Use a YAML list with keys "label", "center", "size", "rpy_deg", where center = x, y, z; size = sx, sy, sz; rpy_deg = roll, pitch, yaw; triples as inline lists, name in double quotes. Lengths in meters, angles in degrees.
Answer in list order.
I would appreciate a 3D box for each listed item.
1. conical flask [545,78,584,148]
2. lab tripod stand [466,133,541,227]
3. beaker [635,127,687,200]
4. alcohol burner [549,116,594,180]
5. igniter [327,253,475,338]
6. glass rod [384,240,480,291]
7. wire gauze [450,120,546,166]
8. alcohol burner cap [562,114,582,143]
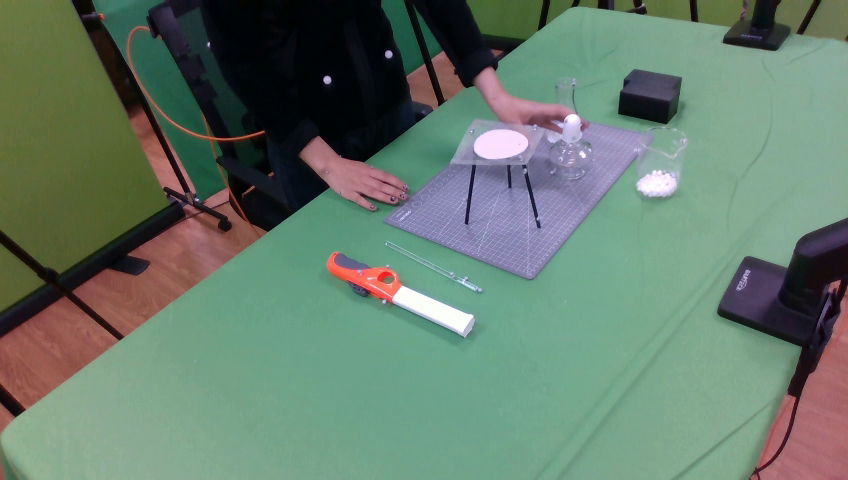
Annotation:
- label: "conical flask"
  center: [0.265, -0.241, 1.135]
  size: [0.075, 0.122, 0.075]
  rpy_deg: [-6, 40, 5]
- label: "lab tripod stand"
  center: [0.129, -0.099, 0.985]
  size: [0.148, 0.132, 0.147]
  rpy_deg: [-7, 38, 6]
- label: "beaker"
  center: [0.388, -0.122, 0.994]
  size: [0.074, 0.101, 0.083]
  rpy_deg: [-8, 40, 2]
- label: "alcohol burner"
  center: [0.258, -0.166, 1.055]
  size: [0.078, 0.120, 0.077]
  rpy_deg: [-6, 42, 6]
- label: "igniter"
  center: [-0.045, 0.077, 0.898]
  size: [0.274, 0.025, 0.057]
  rpy_deg: [22, 60, 32]
- label: "glass rod"
  center: [0.008, 0.037, 0.949]
  size: [0.198, 0.008, 0.008]
  rpy_deg: [26, 52, 34]
- label: "wire gauze"
  center: [0.117, -0.151, 0.943]
  size: [0.121, 0.011, 0.125]
  rpy_deg: [9, 43, 21]
- label: "alcohol burner cap"
  center: [0.254, -0.192, 1.030]
  size: [0.034, 0.048, 0.033]
  rpy_deg: [-5, 51, 6]
